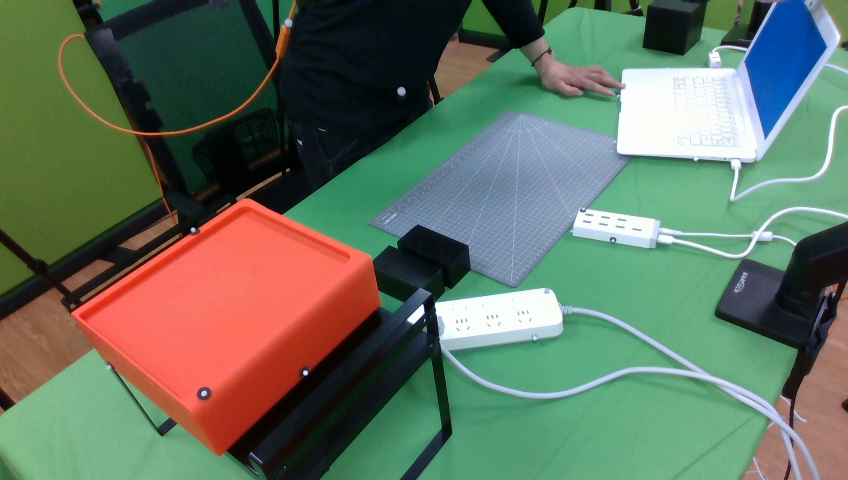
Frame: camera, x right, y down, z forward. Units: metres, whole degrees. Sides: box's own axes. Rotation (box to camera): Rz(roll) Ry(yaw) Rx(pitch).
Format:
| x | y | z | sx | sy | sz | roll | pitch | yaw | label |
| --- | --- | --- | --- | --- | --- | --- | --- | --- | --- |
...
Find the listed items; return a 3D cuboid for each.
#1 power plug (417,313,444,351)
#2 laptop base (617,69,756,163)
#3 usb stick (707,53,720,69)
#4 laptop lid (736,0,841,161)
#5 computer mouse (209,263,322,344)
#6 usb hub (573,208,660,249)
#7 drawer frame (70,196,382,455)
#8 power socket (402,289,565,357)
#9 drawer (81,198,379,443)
| x | y | z | sx | sy | sz | roll | pitch | yaw | label |
| --- | --- | --- | --- | --- | --- | --- | --- | --- | --- |
| 0.007 | 0.127 | 0.786 | 0.035 | 0.053 | 0.072 | 0 | 43 | 8 | power plug |
| 0.510 | -0.254 | 1.202 | 0.234 | 0.023 | 0.353 | 4 | 41 | 16 | laptop base |
| 0.629 | -0.382 | 1.313 | 0.021 | 0.027 | 0.059 | 2 | 46 | 17 | usb stick |
| 0.641 | -0.327 | 1.090 | 0.013 | 0.242 | 0.356 | 17 | 43 | 5 | laptop lid |
| -0.165 | 0.062 | 0.624 | 0.116 | 0.041 | 0.063 | 23 | 44 | 27 | computer mouse |
| 0.302 | -0.019 | 0.950 | 0.124 | 0.025 | 0.049 | 11 | 43 | 20 | usb hub |
| -0.186 | 0.068 | 0.597 | 0.200 | 0.083 | 0.214 | 23 | 49 | 30 | drawer frame |
| 0.081 | 0.112 | 0.822 | 0.227 | 0.033 | 0.072 | -7 | 41 | -1 | power socket |
| -0.185 | 0.065 | 0.600 | 0.193 | 0.073 | 0.212 | 24 | 49 | 31 | drawer |
